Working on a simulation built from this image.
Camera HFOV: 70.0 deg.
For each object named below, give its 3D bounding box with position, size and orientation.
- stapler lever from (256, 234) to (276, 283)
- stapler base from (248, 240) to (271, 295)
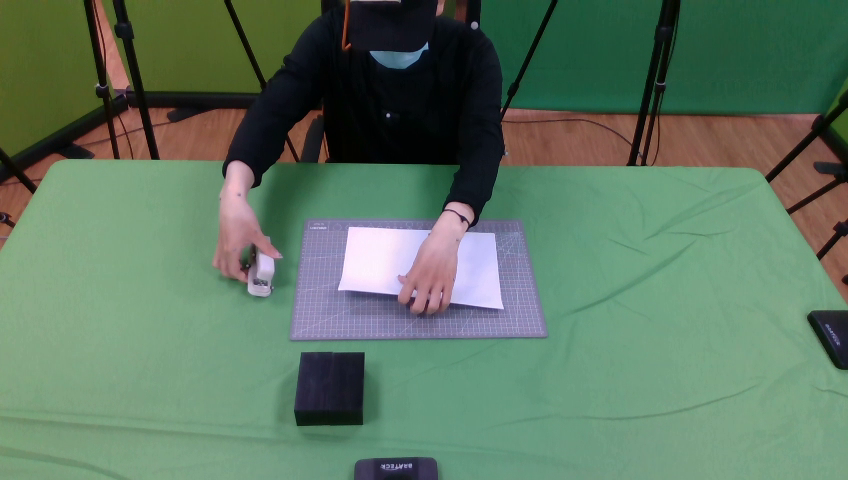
[{"bbox_3d":[-0.290,0.028,1.106,0.027,0.040,0.117,16,39,-30],"label":"stapler lever"},{"bbox_3d":[-0.301,0.045,1.118,0.041,0.024,0.129,16,37,-30],"label":"stapler base"}]
